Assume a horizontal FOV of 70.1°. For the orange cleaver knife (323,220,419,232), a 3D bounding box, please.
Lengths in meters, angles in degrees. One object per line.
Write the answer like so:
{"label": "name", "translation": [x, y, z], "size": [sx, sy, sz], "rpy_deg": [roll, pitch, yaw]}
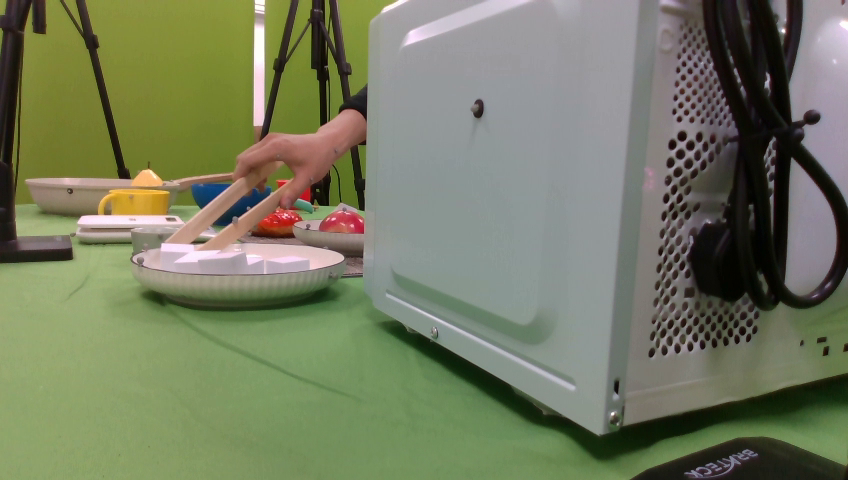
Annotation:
{"label": "orange cleaver knife", "translation": [-0.097, -0.027, 1.152], "size": [0.077, 0.012, 0.212], "rpy_deg": [3, 7, 41]}

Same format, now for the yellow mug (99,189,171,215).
{"label": "yellow mug", "translation": [-0.519, -0.055, 1.080], "size": [0.099, 0.064, 0.131], "rpy_deg": [7, 9, 26]}

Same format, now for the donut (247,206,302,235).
{"label": "donut", "translation": [-0.261, -0.032, 1.043], "size": [0.099, 0.048, 0.099], "rpy_deg": [3, 9, 0]}

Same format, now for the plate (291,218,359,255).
{"label": "plate", "translation": [-0.098, -0.007, 0.928], "size": [0.209, 0.038, 0.209], "rpy_deg": [2, 8, 0]}

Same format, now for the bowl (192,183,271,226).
{"label": "bowl", "translation": [-0.382, -0.071, 1.202], "size": [0.151, 0.077, 0.151], "rpy_deg": [3, 7, 0]}

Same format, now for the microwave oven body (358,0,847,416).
{"label": "microwave oven body", "translation": [0.211, -0.047, 0.475], "size": [0.444, 0.260, 0.324], "rpy_deg": [-1, 7, -28]}

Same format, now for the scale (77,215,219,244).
{"label": "scale", "translation": [-0.434, -0.019, 0.963], "size": [0.202, 0.031, 0.148], "rpy_deg": [-1, 9, -27]}

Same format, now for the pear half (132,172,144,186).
{"label": "pear half", "translation": [-0.638, -0.113, 1.361], "size": [0.031, 0.088, 0.070], "rpy_deg": [5, 11, 4]}

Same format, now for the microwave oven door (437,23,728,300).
{"label": "microwave oven door", "translation": [0.180, -0.073, 0.621], "size": [0.358, 0.243, 0.039], "rpy_deg": [-2, 8, -29]}

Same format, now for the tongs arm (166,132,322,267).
{"label": "tongs arm", "translation": [-0.221, -0.071, 0.800], "size": [0.028, 0.028, 0.388], "rpy_deg": [6, 30, 12]}

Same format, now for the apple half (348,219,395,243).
{"label": "apple half", "translation": [-0.083, -0.018, 0.967], "size": [0.081, 0.033, 0.081], "rpy_deg": [6, 10, -1]}

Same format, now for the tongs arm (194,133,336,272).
{"label": "tongs arm", "translation": [-0.199, -0.068, 0.797], "size": [0.050, 0.026, 0.385], "rpy_deg": [12, 31, 15]}

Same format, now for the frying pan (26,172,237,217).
{"label": "frying pan", "translation": [-0.624, -0.118, 1.387], "size": [0.305, 0.102, 0.490], "rpy_deg": [8, 17, 32]}

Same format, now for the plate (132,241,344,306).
{"label": "plate", "translation": [-0.187, 0.033, 0.625], "size": [0.208, 0.039, 0.207], "rpy_deg": [2, 8, 0]}

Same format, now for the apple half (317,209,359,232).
{"label": "apple half", "translation": [-0.122, -0.020, 0.900], "size": [0.080, 0.053, 0.075], "rpy_deg": [4, 10, 13]}

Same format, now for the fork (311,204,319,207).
{"label": "fork", "translation": [-0.356, -0.105, 1.526], "size": [0.208, 0.018, 0.028], "rpy_deg": [16, -6, -41]}

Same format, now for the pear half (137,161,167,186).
{"label": "pear half", "translation": [-0.602, -0.120, 1.354], "size": [0.056, 0.110, 0.076], "rpy_deg": [4, 11, 6]}

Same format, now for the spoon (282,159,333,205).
{"label": "spoon", "translation": [-0.317, -0.159, 1.640], "size": [0.194, 0.022, 0.041], "rpy_deg": [-49, 32, -20]}

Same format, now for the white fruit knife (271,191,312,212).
{"label": "white fruit knife", "translation": [-0.364, -0.105, 1.464], "size": [0.208, 0.027, 0.016], "rpy_deg": [15, 0, -34]}

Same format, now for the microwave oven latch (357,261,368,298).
{"label": "microwave oven latch", "translation": [-0.019, 0.033, 0.530], "size": [0.079, 0.029, 0.030], "rpy_deg": [-1, 7, -26]}

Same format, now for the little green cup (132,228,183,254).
{"label": "little green cup", "translation": [-0.342, 0.006, 0.779], "size": [0.061, 0.038, 0.061], "rpy_deg": [2, 8, 0]}
